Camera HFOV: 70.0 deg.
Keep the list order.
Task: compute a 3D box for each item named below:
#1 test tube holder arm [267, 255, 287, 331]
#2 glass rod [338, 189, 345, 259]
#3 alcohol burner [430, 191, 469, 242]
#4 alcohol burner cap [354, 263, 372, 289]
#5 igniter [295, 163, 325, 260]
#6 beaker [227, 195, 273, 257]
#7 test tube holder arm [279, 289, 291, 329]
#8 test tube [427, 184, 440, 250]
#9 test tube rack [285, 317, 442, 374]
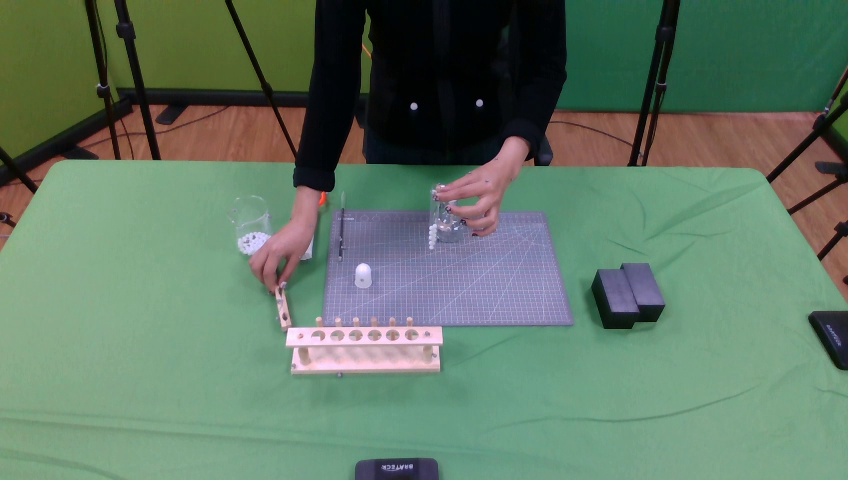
[{"bbox_3d":[-0.266,0.091,1.091,0.013,0.015,0.177,-7,45,-22],"label":"test tube holder arm"},{"bbox_3d":[-0.166,-0.036,1.227,0.008,0.008,0.198,-1,46,-4],"label":"glass rod"},{"bbox_3d":[0.051,-0.053,1.185,0.078,0.119,0.077,2,48,-2],"label":"alcohol burner"},{"bbox_3d":[-0.113,0.063,1.111,0.034,0.048,0.033,2,46,-1],"label":"alcohol burner cap"},{"bbox_3d":[-0.234,-0.067,1.243,0.057,0.025,0.274,-6,46,4],"label":"igniter"},{"bbox_3d":[-0.326,-0.022,1.142,0.074,0.101,0.083,10,47,6],"label":"beaker"},{"bbox_3d":[-0.245,0.121,1.063,0.010,0.015,0.087,-6,44,-21],"label":"test tube holder arm"},{"bbox_3d":[0.016,-0.036,1.018,0.017,0.151,0.017,1,48,-1],"label":"test tube"},{"bbox_3d":[-0.095,0.166,0.988,0.242,0.085,0.066,0,46,-4],"label":"test tube rack"}]
